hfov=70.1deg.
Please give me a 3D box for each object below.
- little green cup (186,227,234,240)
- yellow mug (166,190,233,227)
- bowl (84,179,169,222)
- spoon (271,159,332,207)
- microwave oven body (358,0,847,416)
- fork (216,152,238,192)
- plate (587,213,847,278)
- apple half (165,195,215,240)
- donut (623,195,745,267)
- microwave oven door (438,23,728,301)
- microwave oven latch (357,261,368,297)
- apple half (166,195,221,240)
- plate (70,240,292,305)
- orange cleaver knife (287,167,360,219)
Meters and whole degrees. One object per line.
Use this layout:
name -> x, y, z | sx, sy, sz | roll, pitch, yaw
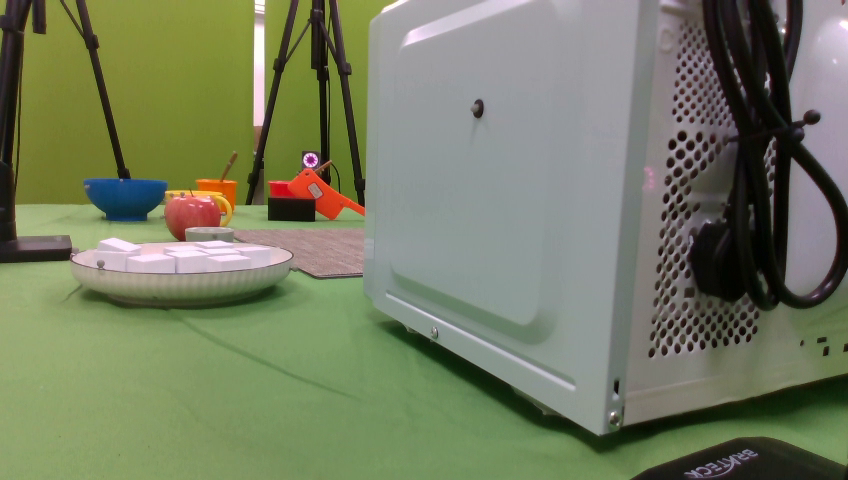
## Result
little green cup -> -0.285, 0.005, 0.805 | 0.061, 0.038, 0.061 | 2, 8, 0
yellow mug -> -0.415, -0.057, 1.132 | 0.130, 0.064, 0.100 | 6, 8, 16
bowl -> -0.584, -0.078, 1.194 | 0.151, 0.077, 0.151 | 3, 8, 0
spoon -> -0.308, -0.142, 1.514 | 0.193, 0.021, 0.041 | -41, 4, 8
microwave oven body -> 0.211, -0.047, 0.474 | 0.444, 0.260, 0.324 | -1, 7, -28
fork -> -0.455, -0.132, 1.367 | 0.028, 0.018, 0.207 | -2, -35, -37
plate -> 0.244, 0.002, 0.512 | 0.209, 0.038, 0.209 | 2, 6, 0
apple half -> -0.377, -0.038, 0.964 | 0.082, 0.081, 0.032 | -4, 15, -39
donut -> 0.220, -0.006, 0.518 | 0.099, 0.048, 0.099 | 22, 0, 0
microwave oven door -> 0.181, -0.072, 0.621 | 0.358, 0.243, 0.039 | -2, 8, -29
microwave oven latch -> -0.019, 0.033, 0.530 | 0.079, 0.029, 0.030 | -1, 7, -26
apple half -> -0.351, -0.031, 0.935 | 0.081, 0.074, 0.053 | 1, 11, -40
plate -> -0.242, 0.031, 0.618 | 0.208, 0.039, 0.207 | 2, 8, 0
orange cleaver knife -> -0.209, -0.089, 1.383 | 0.212, 0.077, 0.012 | 31, 3, -15
